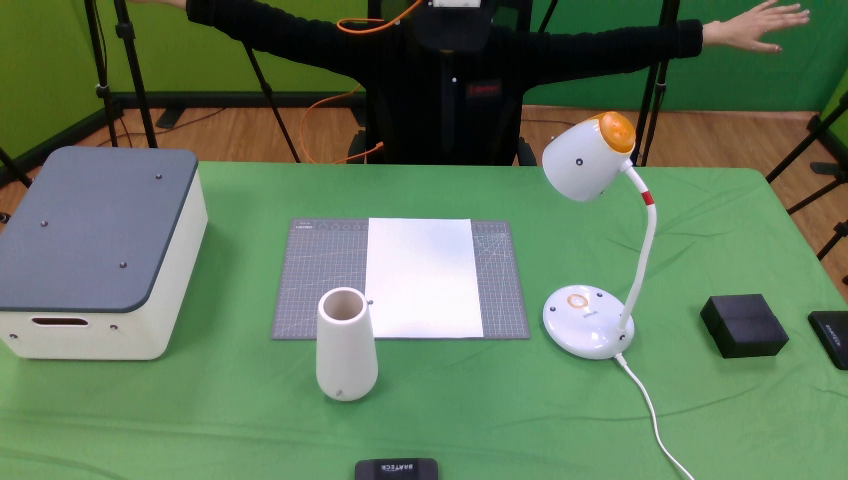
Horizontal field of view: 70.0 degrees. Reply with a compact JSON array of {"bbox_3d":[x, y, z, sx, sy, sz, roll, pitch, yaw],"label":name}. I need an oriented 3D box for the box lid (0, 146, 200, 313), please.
[{"bbox_3d":[-0.536,-0.034,0.989,0.263,0.015,0.369,1,46,-3],"label":"box lid"}]

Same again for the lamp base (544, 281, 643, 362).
[{"bbox_3d":[0.304,0.095,1.014,0.161,0.181,0.178,-24,54,-24],"label":"lamp base"}]

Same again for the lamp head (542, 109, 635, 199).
[{"bbox_3d":[0.253,-0.131,0.893,0.113,0.123,0.112,10,66,-24],"label":"lamp head"}]

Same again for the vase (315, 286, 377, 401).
[{"bbox_3d":[-0.119,0.159,0.911,0.098,0.201,0.097,2,47,-2],"label":"vase"}]

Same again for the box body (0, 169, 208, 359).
[{"bbox_3d":[-0.541,0.021,1.042,0.254,0.161,0.361,1,46,-3],"label":"box body"}]

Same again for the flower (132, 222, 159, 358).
[{"bbox_3d":[-0.505,0.073,1.094,0.044,0.038,0.359,-41,43,10],"label":"flower"}]

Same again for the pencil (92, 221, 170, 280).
[{"bbox_3d":[-0.552,0.016,1.154,0.012,0.012,0.193,20,42,15],"label":"pencil"}]
